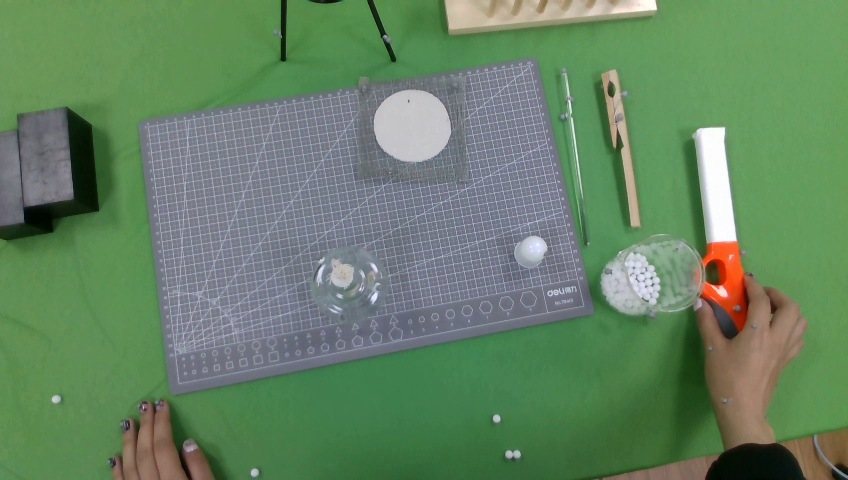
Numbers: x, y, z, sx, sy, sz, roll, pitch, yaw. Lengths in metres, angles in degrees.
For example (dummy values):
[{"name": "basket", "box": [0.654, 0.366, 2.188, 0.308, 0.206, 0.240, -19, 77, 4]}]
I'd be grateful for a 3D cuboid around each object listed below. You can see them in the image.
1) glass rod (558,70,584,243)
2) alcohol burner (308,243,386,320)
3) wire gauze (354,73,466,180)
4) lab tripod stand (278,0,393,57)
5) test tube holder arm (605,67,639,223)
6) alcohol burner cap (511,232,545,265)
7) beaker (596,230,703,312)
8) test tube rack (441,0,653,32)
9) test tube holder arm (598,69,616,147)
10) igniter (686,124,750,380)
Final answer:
[{"name": "glass rod", "box": [0.165, -0.095, 0.677, 0.008, 0.008, 0.199, -5, 83, -3]}, {"name": "alcohol burner", "box": [-0.077, 0.038, 0.591, 0.078, 0.119, 0.077, 0, 79, 0]}, {"name": "wire gauze", "box": [-0.016, -0.128, 0.675, 0.125, 0.011, 0.121, 1, 82, -3]}, {"name": "lab tripod stand", "box": [-0.099, -0.253, 0.632, 0.148, 0.132, 0.148, 0, 82, -2]}, {"name": "test tube holder arm", "box": [0.220, -0.106, 0.675, 0.013, 0.015, 0.177, -13, 80, 29]}, {"name": "alcohol burner cap", "box": [0.112, 0.007, 0.639, 0.034, 0.048, 0.033, 0, 80, -2]}, {"name": "beaker", "box": [0.219, 0.035, 0.613, 0.084, 0.100, 0.074, 21, 80, 3]}, {"name": "test tube rack", "box": [0.142, -0.293, 0.671, 0.242, 0.085, 0.066, -7, 80, -3]}, {"name": "test tube holder arm", "box": [0.209, -0.149, 0.684, 0.010, 0.015, 0.087, -12, 81, 29]}, {"name": "igniter", "box": [0.316, 0.010, 0.656, 0.057, 0.025, 0.275, -3, 82, 0]}]
